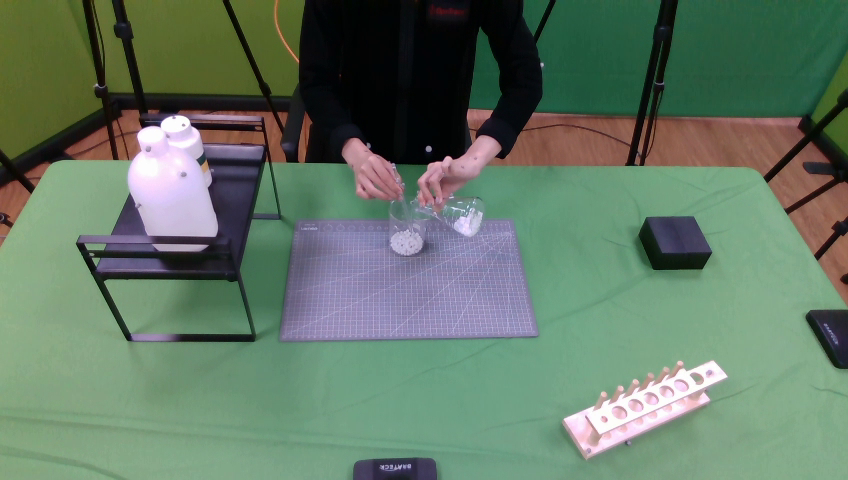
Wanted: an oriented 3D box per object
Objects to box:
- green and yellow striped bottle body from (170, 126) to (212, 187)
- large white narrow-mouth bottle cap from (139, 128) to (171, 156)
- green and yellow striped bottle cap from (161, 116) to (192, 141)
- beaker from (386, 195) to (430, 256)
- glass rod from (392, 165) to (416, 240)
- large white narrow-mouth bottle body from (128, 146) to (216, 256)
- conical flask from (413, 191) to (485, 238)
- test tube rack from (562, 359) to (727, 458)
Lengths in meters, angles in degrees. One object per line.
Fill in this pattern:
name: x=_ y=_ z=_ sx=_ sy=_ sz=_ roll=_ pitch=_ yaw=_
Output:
green and yellow striped bottle body: x=-0.389 y=-0.139 z=0.984 sx=0.063 sy=0.120 sz=0.063 roll=2 pitch=46 yaw=-2
large white narrow-mouth bottle cap: x=-0.358 y=-0.131 z=0.807 sx=0.038 sy=0.024 sz=0.037 roll=3 pitch=47 yaw=-3
green and yellow striped bottle cap: x=-0.387 y=-0.174 z=0.946 sx=0.045 sy=0.020 sz=0.045 roll=3 pitch=44 yaw=-3
beaker: x=-0.031 y=-0.023 z=1.161 sx=0.084 sy=0.101 sz=0.073 roll=18 pitch=48 yaw=12
glass rod: x=-0.036 y=-0.065 z=1.124 sx=0.008 sy=0.201 sz=0.008 roll=-7 pitch=49 yaw=8
large white narrow-mouth bottle body: x=-0.366 y=-0.073 z=0.872 sx=0.102 sy=0.195 sz=0.101 roll=3 pitch=47 yaw=-3
conical flask: x=0.040 y=-0.054 z=1.074 sx=0.121 sy=0.076 sz=0.075 roll=18 pitch=47 yaw=25
test tube rack: x=0.341 y=0.247 z=0.940 sx=0.243 sy=0.085 sz=0.066 roll=-16 pitch=49 yaw=-18
